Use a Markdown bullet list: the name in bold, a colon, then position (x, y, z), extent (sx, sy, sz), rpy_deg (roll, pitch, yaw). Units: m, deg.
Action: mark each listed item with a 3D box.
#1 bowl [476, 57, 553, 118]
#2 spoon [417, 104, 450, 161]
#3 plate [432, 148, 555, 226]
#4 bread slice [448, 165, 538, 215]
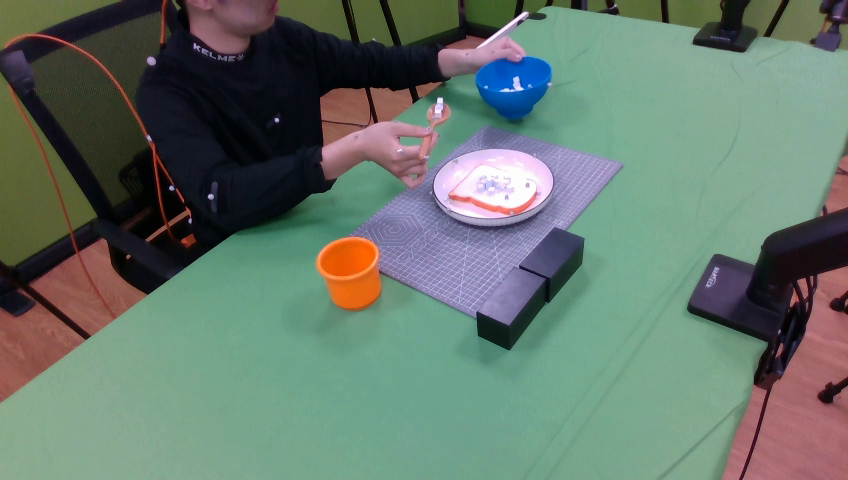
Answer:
- **bowl**: position (0.181, -0.296, 1.205), extent (0.151, 0.077, 0.150), rpy_deg (-6, 41, 6)
- **spoon**: position (0.011, -0.179, 0.991), extent (0.041, 0.022, 0.193), rpy_deg (7, 34, 9)
- **plate**: position (0.119, -0.087, 1.037), extent (0.209, 0.038, 0.208), rpy_deg (-4, 40, 4)
- **bread slice**: position (0.126, -0.085, 1.038), extent (0.133, 0.018, 0.107), rpy_deg (16, 45, 27)
